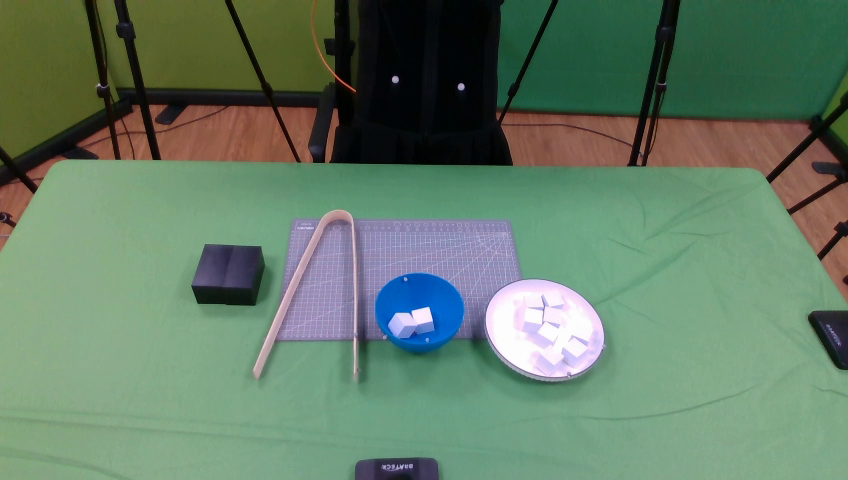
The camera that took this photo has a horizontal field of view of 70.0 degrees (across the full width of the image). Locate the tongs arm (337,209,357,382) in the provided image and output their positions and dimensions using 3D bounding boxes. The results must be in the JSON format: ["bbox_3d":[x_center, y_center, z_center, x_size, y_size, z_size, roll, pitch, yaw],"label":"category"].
[{"bbox_3d":[-0.143,0.083,1.094,0.051,0.026,0.382,-2,46,-1],"label":"tongs arm"}]

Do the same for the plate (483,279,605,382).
[{"bbox_3d":[0.204,0.158,1.046,0.208,0.039,0.206,3,47,-3],"label":"plate"}]

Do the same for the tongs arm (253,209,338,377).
[{"bbox_3d":[-0.227,0.079,1.095,0.028,0.028,0.385,5,46,11],"label":"tongs arm"}]

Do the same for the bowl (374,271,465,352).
[{"bbox_3d":[-0.009,0.136,1.024,0.151,0.077,0.150,2,47,-2],"label":"bowl"}]
